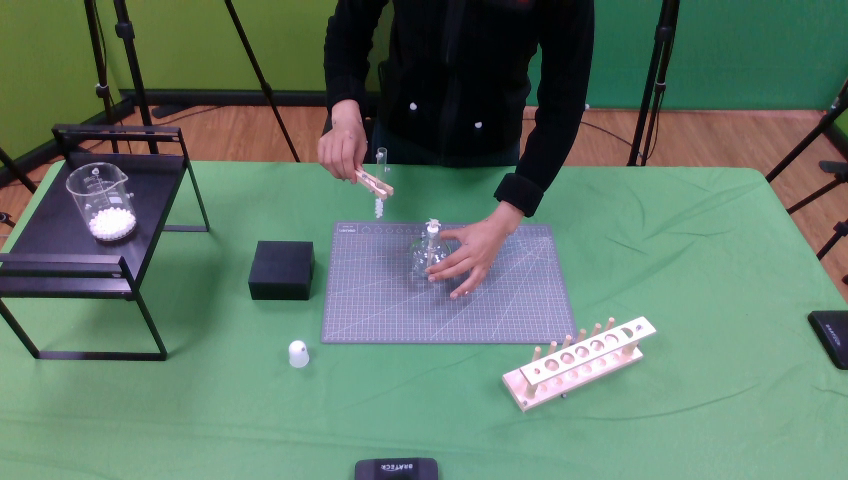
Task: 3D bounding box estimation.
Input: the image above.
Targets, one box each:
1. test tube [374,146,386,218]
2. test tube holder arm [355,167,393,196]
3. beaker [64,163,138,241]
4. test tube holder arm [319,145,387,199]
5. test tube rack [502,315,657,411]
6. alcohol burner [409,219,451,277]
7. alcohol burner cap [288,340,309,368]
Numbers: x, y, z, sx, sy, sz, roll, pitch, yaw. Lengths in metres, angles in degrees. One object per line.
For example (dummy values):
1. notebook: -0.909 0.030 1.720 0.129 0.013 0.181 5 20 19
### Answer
1. test tube: -0.074 -0.093 1.014 0.017 0.151 0.017 4 46 -4
2. test tube holder arm: -0.089 -0.101 1.032 0.087 0.015 0.010 31 46 25
3. beaker: -0.477 -0.055 0.910 0.084 0.101 0.073 -9 48 -13
4. test tube holder arm: -0.125 -0.121 1.050 0.177 0.015 0.013 36 48 29
5. test tube rack: 0.253 0.186 0.988 0.242 0.085 0.066 -18 50 -20
6. alcohol burner: 0.012 0.009 1.086 0.078 0.119 0.077 3 44 -3
7. alcohol burner cap: -0.207 0.183 0.991 0.034 0.048 0.033 3 47 -3
